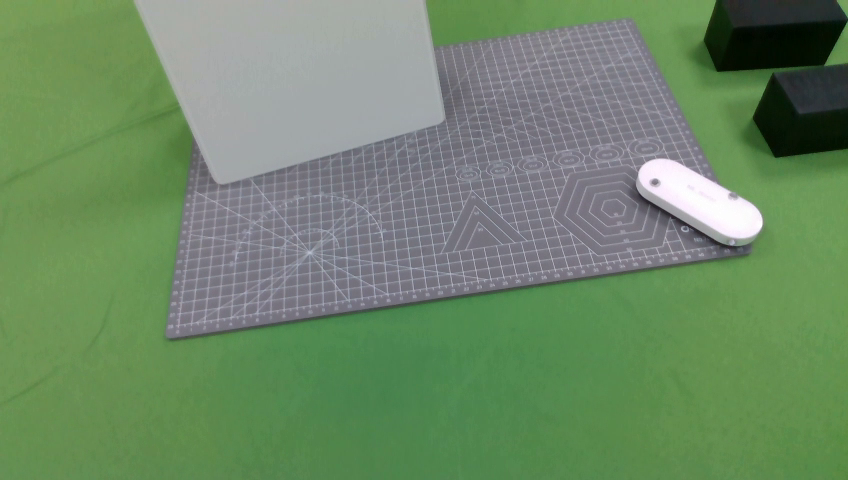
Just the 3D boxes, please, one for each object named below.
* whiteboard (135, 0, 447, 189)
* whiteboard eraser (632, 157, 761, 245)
[{"bbox_3d":[-0.123,-0.234,0.515,0.217,0.308,0.142,-17,36,-6],"label":"whiteboard"},{"bbox_3d":[0.214,-0.032,0.479,0.041,0.019,0.100,-40,60,-21],"label":"whiteboard eraser"}]
